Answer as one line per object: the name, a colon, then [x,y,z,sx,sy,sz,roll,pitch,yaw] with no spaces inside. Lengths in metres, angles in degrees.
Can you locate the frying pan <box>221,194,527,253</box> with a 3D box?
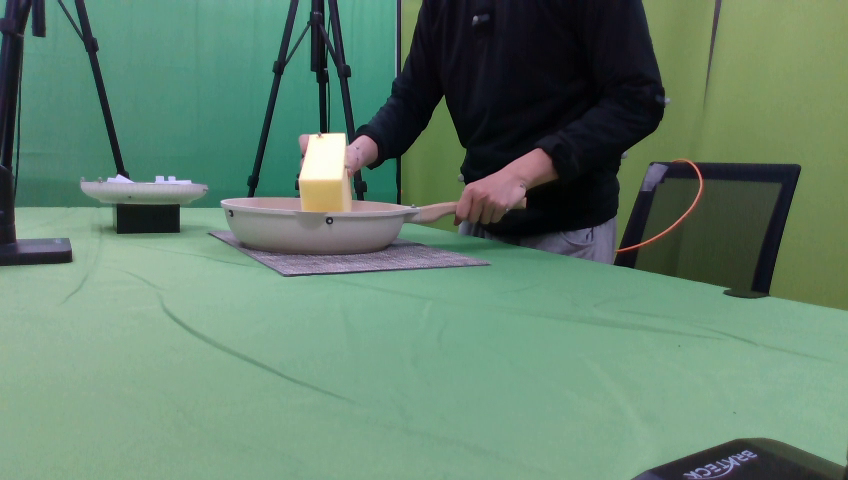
frying pan: [-0.070,-0.043,0.983,0.489,0.102,0.306,-7,9,-5]

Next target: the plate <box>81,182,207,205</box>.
plate: [-0.504,-0.086,1.100,0.208,0.039,0.207,1,6,0]

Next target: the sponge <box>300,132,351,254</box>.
sponge: [-0.150,-0.079,0.948,0.061,0.118,0.206,-5,29,-5]
